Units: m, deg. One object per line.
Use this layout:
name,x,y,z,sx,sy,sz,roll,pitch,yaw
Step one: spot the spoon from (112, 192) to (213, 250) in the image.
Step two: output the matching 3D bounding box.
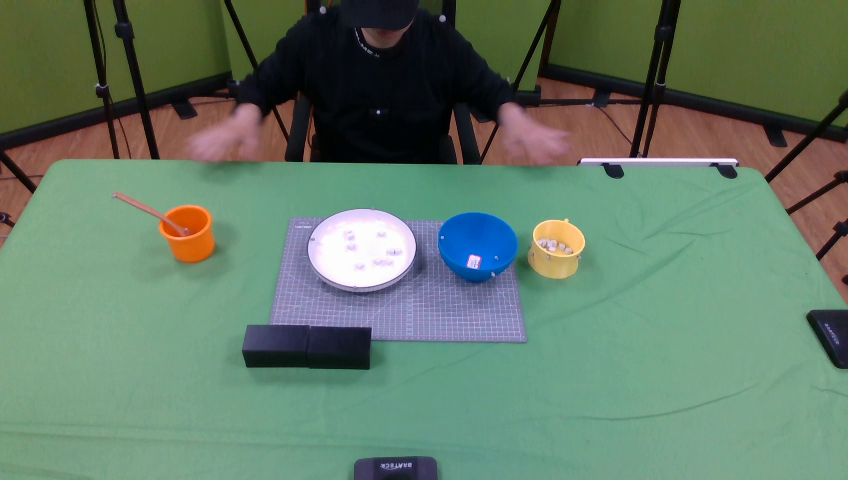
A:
spoon,-0.475,-0.036,1.108,0.021,0.195,0.041,-35,35,25

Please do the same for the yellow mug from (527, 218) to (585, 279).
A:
yellow mug,0.261,0.006,1.181,0.100,0.064,0.130,18,47,14

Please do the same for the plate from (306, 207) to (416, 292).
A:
plate,-0.119,0.021,1.153,0.209,0.038,0.208,2,46,-2

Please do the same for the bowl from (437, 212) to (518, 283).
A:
bowl,0.096,0.025,1.138,0.151,0.077,0.150,3,46,-2
